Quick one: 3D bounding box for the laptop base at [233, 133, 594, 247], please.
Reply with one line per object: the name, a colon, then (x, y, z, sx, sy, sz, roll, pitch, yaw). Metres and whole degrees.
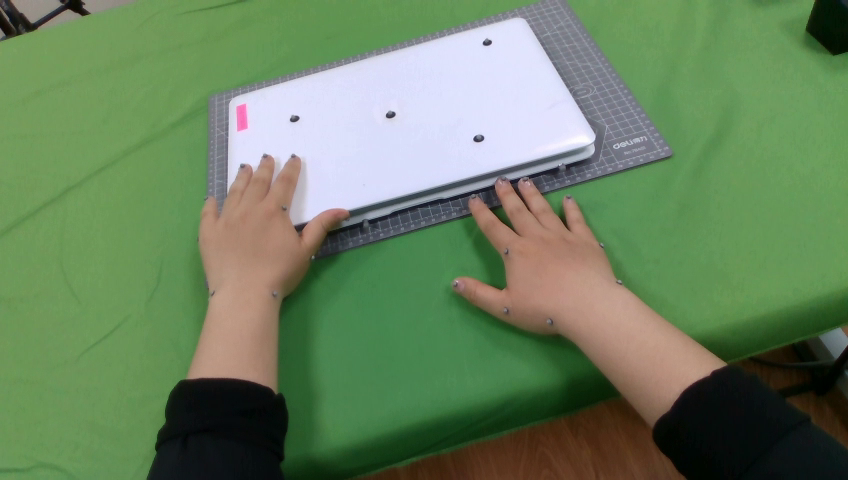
laptop base: (-0.032, -0.125, 0.636, 0.354, 0.023, 0.233, -16, 55, 0)

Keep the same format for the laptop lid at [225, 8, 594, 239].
laptop lid: (-0.035, -0.134, 0.620, 0.357, 0.013, 0.239, -15, 50, 2)
